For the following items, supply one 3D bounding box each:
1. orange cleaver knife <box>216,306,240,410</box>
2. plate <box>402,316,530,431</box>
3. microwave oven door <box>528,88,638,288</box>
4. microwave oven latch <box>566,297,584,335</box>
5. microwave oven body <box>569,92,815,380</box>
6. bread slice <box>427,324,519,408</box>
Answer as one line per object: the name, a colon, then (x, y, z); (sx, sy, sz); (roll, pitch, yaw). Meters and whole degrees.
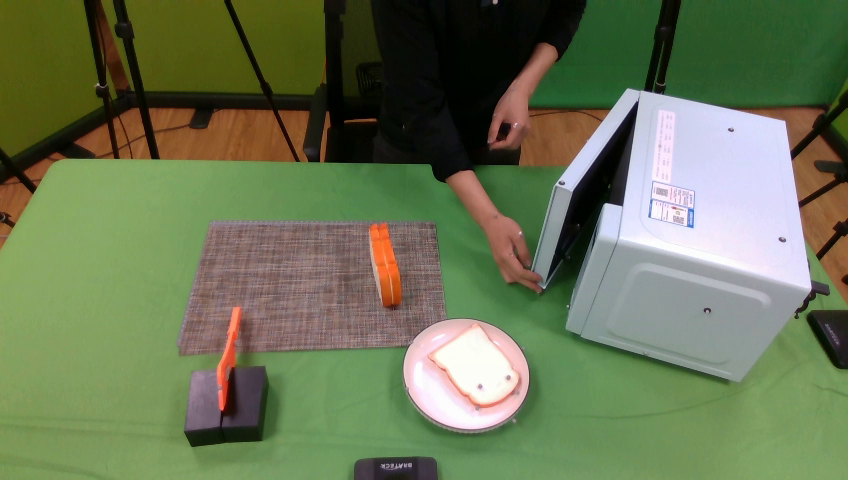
orange cleaver knife: (-0.307, 0.180, 0.957); (0.012, 0.077, 0.210); (-2, 25, -8)
plate: (0.066, 0.217, 0.982); (0.208, 0.039, 0.206); (2, 46, -2)
microwave oven door: (0.306, -0.104, 1.144); (0.039, 0.245, 0.355); (26, 50, 19)
microwave oven latch: (0.268, 0.126, 1.059); (0.030, 0.029, 0.079); (16, 46, 12)
microwave oven body: (0.468, -0.022, 1.082); (0.325, 0.261, 0.440); (15, 46, 11)
bread slice: (0.087, 0.209, 0.989); (0.107, 0.018, 0.133); (-32, 57, -26)
